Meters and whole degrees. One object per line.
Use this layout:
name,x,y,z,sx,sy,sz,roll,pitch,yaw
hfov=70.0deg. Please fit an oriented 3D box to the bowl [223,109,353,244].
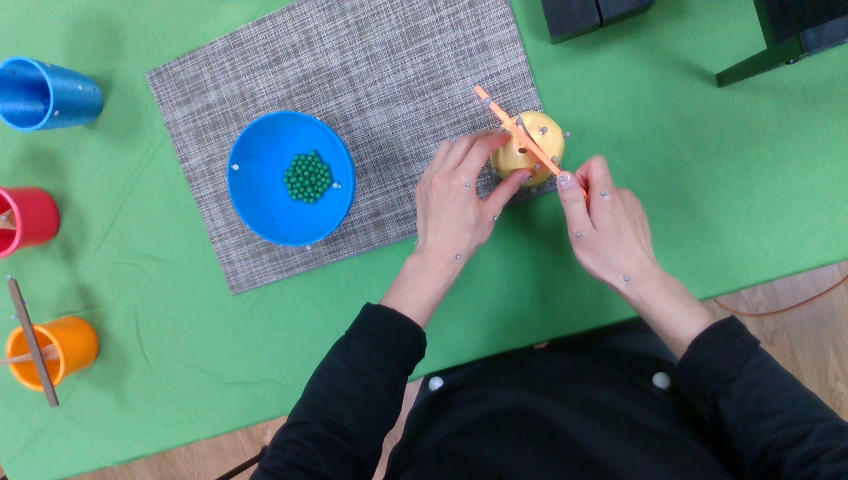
bowl,-0.145,-0.075,0.706,0.151,0.077,0.152,2,100,12

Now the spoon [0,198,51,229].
spoon,-0.593,-0.018,0.783,0.194,0.021,0.042,-17,99,-29

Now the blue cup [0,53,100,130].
blue cup,-0.460,-0.179,0.747,0.092,0.100,0.093,2,101,10

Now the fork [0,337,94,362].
fork,-0.555,0.155,0.802,0.208,0.018,0.028,-6,112,-31

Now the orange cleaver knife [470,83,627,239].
orange cleaver knife,0.122,-0.074,0.582,0.213,0.076,0.012,38,106,-25

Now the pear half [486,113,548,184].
pear half,0.093,-0.091,0.636,0.056,0.110,0.076,-37,85,14

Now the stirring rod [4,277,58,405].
stirring rod,-0.510,0.132,0.786,0.014,0.006,0.176,-14,97,11

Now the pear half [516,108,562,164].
pear half,0.126,-0.114,0.636,0.031,0.088,0.070,-41,85,12
